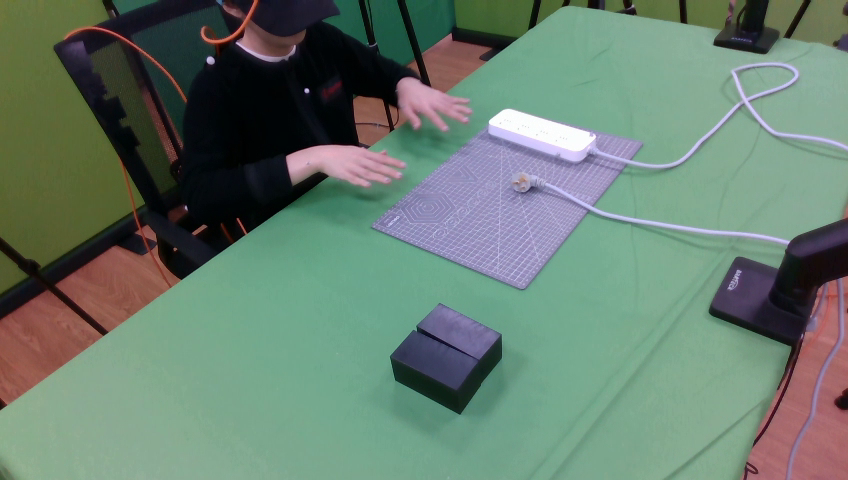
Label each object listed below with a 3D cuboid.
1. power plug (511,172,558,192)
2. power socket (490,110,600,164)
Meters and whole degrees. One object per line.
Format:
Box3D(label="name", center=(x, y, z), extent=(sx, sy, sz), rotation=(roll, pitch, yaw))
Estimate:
Box3D(label="power plug", center=(0.188, -0.101, 1.044), extent=(0.072, 0.035, 0.053), rotation=(2, 21, 42))
Box3D(label="power socket", center=(0.227, -0.201, 1.166), extent=(0.225, 0.033, 0.072), rotation=(26, 52, 33))
